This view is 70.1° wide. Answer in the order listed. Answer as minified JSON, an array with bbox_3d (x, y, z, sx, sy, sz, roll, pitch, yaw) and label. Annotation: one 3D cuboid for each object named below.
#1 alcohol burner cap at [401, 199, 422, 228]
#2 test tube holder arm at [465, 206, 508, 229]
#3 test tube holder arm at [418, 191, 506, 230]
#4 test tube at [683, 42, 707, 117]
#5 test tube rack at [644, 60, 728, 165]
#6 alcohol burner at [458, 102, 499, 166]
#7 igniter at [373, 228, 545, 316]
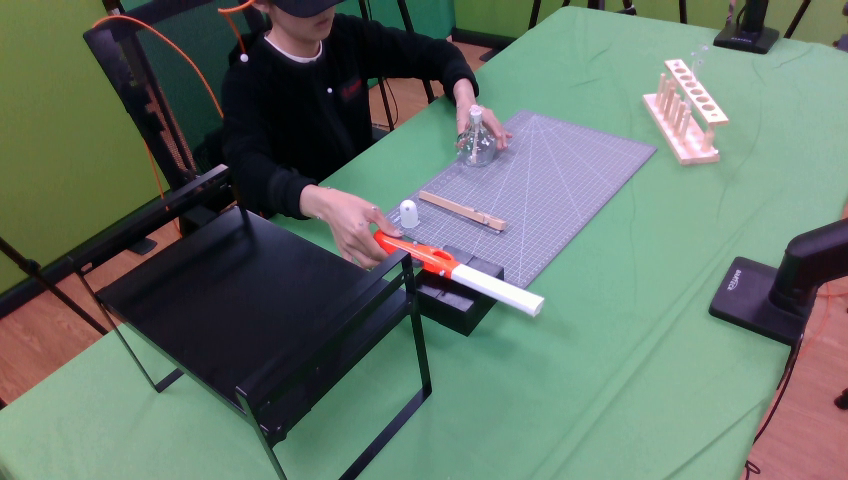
[{"bbox_3d":[-0.022,-0.047,1.014,0.034,0.048,0.033,-4,42,4],"label":"alcohol burner cap"},{"bbox_3d":[0.100,-0.038,1.005,0.087,0.015,0.010,23,14,32],"label":"test tube holder arm"},{"bbox_3d":[0.061,-0.052,1.024,0.177,0.015,0.013,23,14,31],"label":"test tube holder arm"},{"bbox_3d":[0.497,-0.292,1.114,0.017,0.151,0.017,-4,44,4],"label":"test tube"},{"bbox_3d":[0.485,-0.246,1.140,0.067,0.085,0.241,-5,41,4],"label":"test tube rack"},{"bbox_3d":[0.100,-0.198,1.116,0.078,0.119,0.077,-5,39,5],"label":"alcohol burner"},{"bbox_3d":[0.038,0.039,0.844,0.274,0.025,0.057,23,33,26],"label":"igniter"}]
